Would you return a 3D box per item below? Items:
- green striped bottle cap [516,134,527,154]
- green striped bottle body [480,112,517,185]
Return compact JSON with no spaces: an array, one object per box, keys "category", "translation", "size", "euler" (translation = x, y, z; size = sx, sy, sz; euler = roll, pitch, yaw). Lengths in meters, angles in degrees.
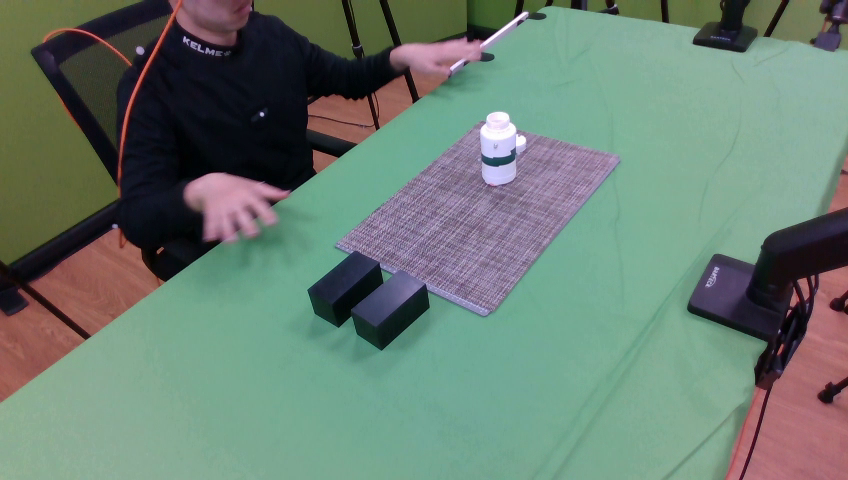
[{"category":"green striped bottle cap","translation":[0.175,-0.183,1.158],"size":[0.044,0.020,0.044],"euler":[-5,43,5]},{"category":"green striped bottle body","translation":[0.130,-0.162,1.057],"size":[0.063,0.120,0.063],"euler":[-4,41,4]}]
